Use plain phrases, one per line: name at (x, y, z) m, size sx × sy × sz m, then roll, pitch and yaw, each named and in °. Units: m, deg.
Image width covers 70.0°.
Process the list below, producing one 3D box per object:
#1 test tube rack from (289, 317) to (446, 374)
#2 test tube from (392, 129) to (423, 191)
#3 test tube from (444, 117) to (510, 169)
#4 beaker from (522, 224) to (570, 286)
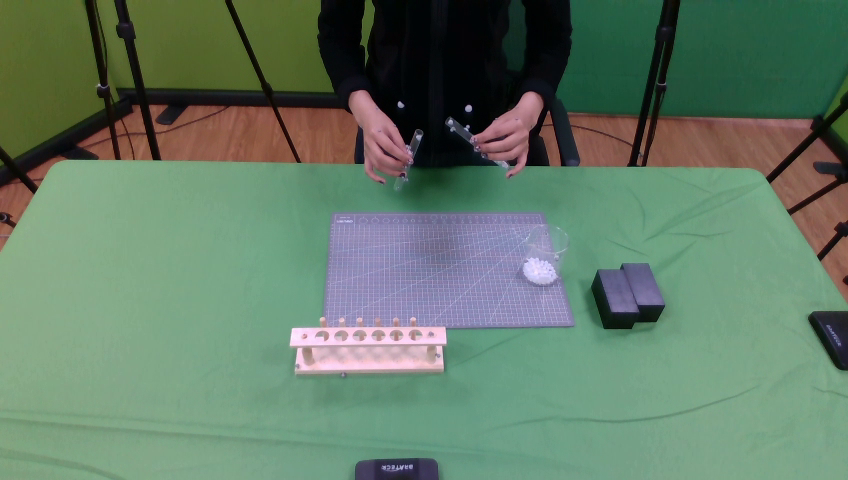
test tube rack at (-0.089, 0.167, 0.988) m, size 0.242 × 0.085 × 0.066 m, roll 0°, pitch 46°, yaw -4°
test tube at (-0.032, -0.144, 1.110) m, size 0.017 × 0.151 × 0.017 m, roll 12°, pitch 48°, yaw -14°
test tube at (0.096, -0.170, 1.071) m, size 0.151 × 0.017 × 0.017 m, roll 33°, pitch 40°, yaw -24°
beaker at (0.221, 0.032, 1.129) m, size 0.084 × 0.101 × 0.073 m, roll -7°, pitch 46°, yaw -9°
